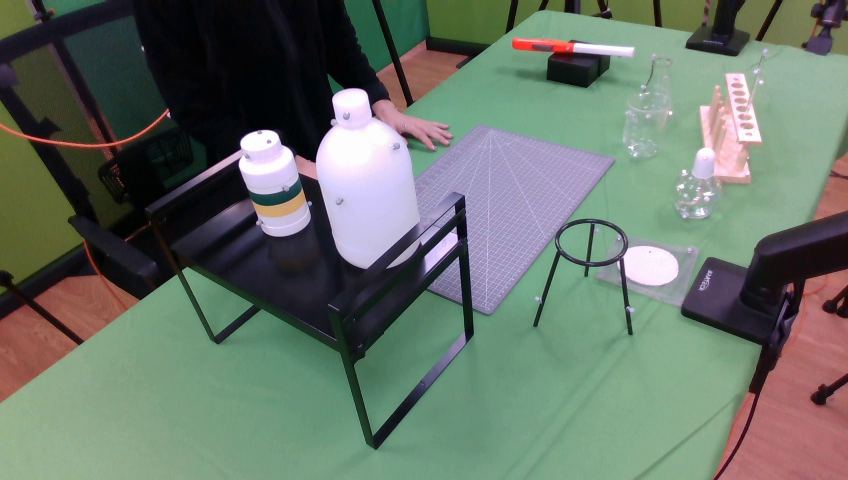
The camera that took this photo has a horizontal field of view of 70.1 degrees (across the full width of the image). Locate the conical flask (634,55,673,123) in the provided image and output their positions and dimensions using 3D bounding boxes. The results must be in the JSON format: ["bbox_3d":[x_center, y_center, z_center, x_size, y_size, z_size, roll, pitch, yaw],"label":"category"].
[{"bbox_3d":[0.456,-0.297,1.182,0.075,0.122,0.075,-4,41,4],"label":"conical flask"}]

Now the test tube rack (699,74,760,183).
[{"bbox_3d":[0.547,-0.208,1.095,0.066,0.085,0.242,6,42,16],"label":"test tube rack"}]

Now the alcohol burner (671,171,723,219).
[{"bbox_3d":[0.434,-0.093,0.955,0.078,0.119,0.077,-3,43,3],"label":"alcohol burner"}]

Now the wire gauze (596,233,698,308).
[{"bbox_3d":[0.331,0.038,0.897,0.124,0.011,0.121,18,47,26],"label":"wire gauze"}]

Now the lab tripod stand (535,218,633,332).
[{"bbox_3d":[0.216,0.050,0.803,0.148,0.132,0.147,-4,42,4],"label":"lab tripod stand"}]

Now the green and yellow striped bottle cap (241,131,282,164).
[{"bbox_3d":[-0.187,-0.107,0.695,0.045,0.020,0.045,-3,39,3],"label":"green and yellow striped bottle cap"}]

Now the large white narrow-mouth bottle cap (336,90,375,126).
[{"bbox_3d":[-0.068,-0.130,0.595,0.038,0.024,0.037,-3,41,3],"label":"large white narrow-mouth bottle cap"}]

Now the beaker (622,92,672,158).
[{"bbox_3d":[0.402,-0.210,1.106,0.074,0.101,0.083,-8,40,-2],"label":"beaker"}]

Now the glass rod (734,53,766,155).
[{"bbox_3d":[0.540,-0.219,1.006,0.008,0.201,0.008,-5,45,6],"label":"glass rod"}]

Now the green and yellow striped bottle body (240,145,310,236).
[{"bbox_3d":[-0.181,-0.068,0.729,0.063,0.120,0.063,-4,40,4],"label":"green and yellow striped bottle body"}]

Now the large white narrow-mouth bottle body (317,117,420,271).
[{"bbox_3d":[-0.062,-0.065,0.653,0.102,0.195,0.101,-3,41,3],"label":"large white narrow-mouth bottle body"}]

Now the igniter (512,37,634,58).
[{"bbox_3d":[0.328,-0.433,1.360,0.275,0.025,0.057,12,33,20],"label":"igniter"}]

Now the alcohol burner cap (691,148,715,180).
[{"bbox_3d":[0.432,-0.120,0.930,0.034,0.048,0.033,-7,48,8],"label":"alcohol burner cap"}]
